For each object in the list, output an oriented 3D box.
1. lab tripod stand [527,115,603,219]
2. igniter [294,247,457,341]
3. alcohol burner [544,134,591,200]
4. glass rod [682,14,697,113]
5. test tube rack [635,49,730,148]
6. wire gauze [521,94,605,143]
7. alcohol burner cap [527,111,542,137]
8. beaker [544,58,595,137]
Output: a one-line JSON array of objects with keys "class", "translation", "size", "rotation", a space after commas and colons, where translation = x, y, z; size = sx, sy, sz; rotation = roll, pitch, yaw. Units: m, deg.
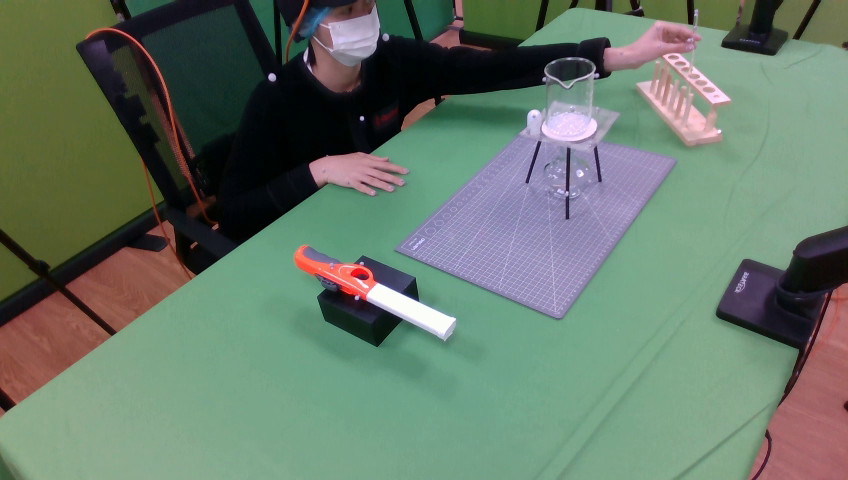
[{"class": "lab tripod stand", "translation": [0.234, -0.129, 1.002], "size": [0.148, 0.132, 0.147], "rotation": [-6, 40, 6]}, {"class": "igniter", "translation": [-0.077, 0.068, 0.831], "size": [0.274, 0.025, 0.057], "rotation": [22, 47, 27]}, {"class": "alcohol burner", "translation": [0.241, -0.127, 1.014], "size": [0.078, 0.119, 0.077], "rotation": [-5, 41, 5]}, {"class": "glass rod", "translation": [0.495, -0.324, 1.130], "size": [0.008, 0.201, 0.008], "rotation": [-8, 42, 7]}, {"class": "test tube rack", "translation": [0.497, -0.283, 1.185], "size": [0.067, 0.085, 0.240], "rotation": [-10, 40, -2]}, {"class": "wire gauze", "translation": [0.219, -0.190, 0.949], "size": [0.121, 0.011, 0.125], "rotation": [7, 46, 14]}, {"class": "alcohol burner cap", "translation": [0.221, -0.233, 1.200], "size": [0.034, 0.048, 0.033], "rotation": [-6, 41, 6]}, {"class": "beaker", "translation": [0.222, -0.214, 0.927], "size": [0.074, 0.101, 0.084], "rotation": [3, 42, 16]}]
